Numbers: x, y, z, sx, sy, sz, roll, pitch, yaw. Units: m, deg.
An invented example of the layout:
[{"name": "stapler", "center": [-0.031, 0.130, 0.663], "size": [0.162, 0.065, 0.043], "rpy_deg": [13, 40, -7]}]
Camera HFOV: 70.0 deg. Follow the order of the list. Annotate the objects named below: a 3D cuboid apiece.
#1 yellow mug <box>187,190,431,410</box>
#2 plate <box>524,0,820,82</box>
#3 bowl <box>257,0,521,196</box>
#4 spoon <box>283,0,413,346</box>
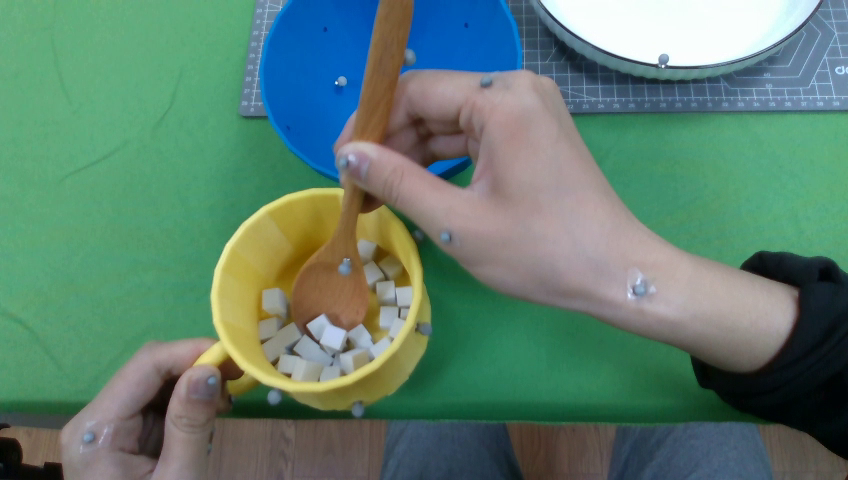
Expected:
[{"name": "yellow mug", "center": [-0.060, 0.042, 0.307], "size": [0.131, 0.064, 0.099], "rpy_deg": [-36, 70, -10]}, {"name": "plate", "center": [0.164, -0.195, 0.420], "size": [0.209, 0.038, 0.207], "rpy_deg": [-1, 70, 4]}, {"name": "bowl", "center": [-0.017, -0.089, 0.378], "size": [0.151, 0.077, 0.150], "rpy_deg": [-1, 74, 5]}, {"name": "spoon", "center": [-0.033, -0.018, 0.269], "size": [0.042, 0.195, 0.021], "rpy_deg": [17, 42, -5]}]
